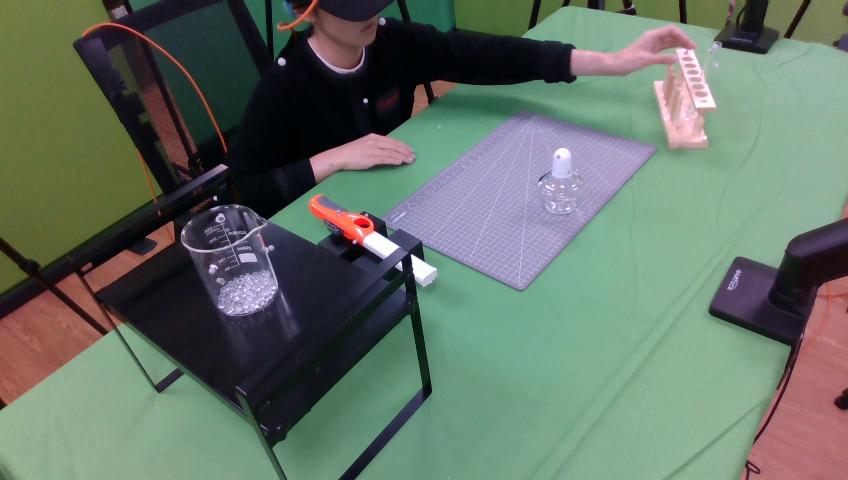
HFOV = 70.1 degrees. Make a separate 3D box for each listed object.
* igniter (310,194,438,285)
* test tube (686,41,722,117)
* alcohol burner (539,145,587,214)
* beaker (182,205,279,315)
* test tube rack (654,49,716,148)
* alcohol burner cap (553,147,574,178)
[{"bbox_3d":[-0.086,-0.007,0.921,0.274,0.025,0.057,31,51,34],"label":"igniter"},{"bbox_3d":[0.510,-0.290,1.105,0.017,0.150,0.017,2,44,-1],"label":"test tube"},{"bbox_3d":[0.226,-0.102,0.986,0.078,0.119,0.077,-6,41,6],"label":"alcohol burner"},{"bbox_3d":[-0.197,0.024,0.641,0.084,0.101,0.073,-12,41,-6],"label":"beaker"},{"bbox_3d":[0.502,-0.281,1.176,0.066,0.085,0.241,2,41,11],"label":"test tube rack"},{"bbox_3d":[0.224,-0.125,0.965,0.034,0.048,0.033,-5,44,5],"label":"alcohol burner cap"}]
